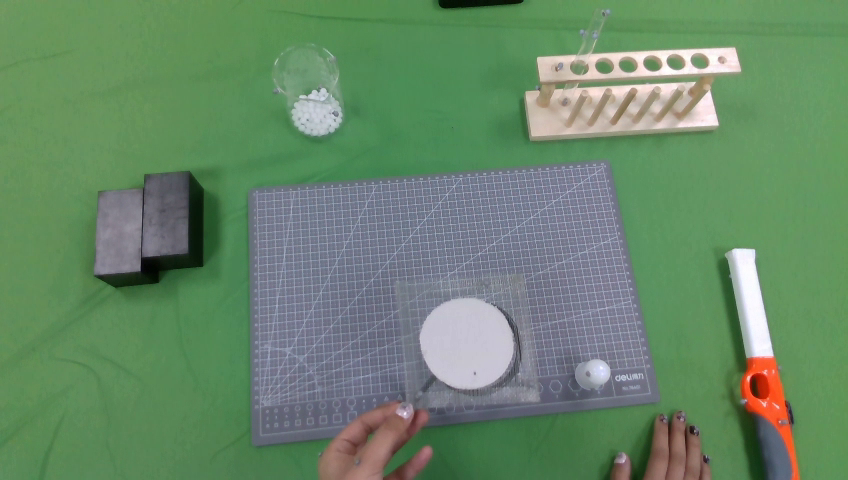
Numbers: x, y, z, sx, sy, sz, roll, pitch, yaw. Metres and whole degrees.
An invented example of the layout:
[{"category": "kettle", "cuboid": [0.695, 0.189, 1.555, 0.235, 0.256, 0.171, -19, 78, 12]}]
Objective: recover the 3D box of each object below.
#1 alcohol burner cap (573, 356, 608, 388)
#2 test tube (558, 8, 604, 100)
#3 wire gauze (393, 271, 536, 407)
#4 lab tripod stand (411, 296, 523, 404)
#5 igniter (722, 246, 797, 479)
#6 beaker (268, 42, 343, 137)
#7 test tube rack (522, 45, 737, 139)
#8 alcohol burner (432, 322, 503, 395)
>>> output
[{"category": "alcohol burner cap", "cuboid": [0.185, 0.144, 0.666, 0.034, 0.048, 0.033, 0, 71, 0]}, {"category": "test tube", "cuboid": [0.180, -0.211, 0.707, 0.017, 0.151, 0.017, 1, 68, -1]}, {"category": "wire gauze", "cuboid": [0.037, 0.089, 0.558, 0.125, 0.011, 0.120, -3, 70, -4]}, {"category": "lab tripod stand", "cuboid": [0.043, 0.114, 0.621, 0.148, 0.132, 0.147, 0, 71, 0]}, {"category": "igniter", "cuboid": [0.377, 0.140, 0.685, 0.057, 0.025, 0.275, 2, 72, -12]}, {"category": "beaker", "cuboid": [-0.136, -0.174, 0.728, 0.074, 0.101, 0.083, -35, 77, -12]}, {"category": "test tube rack", "cuboid": [0.252, -0.182, 0.752, 0.242, 0.085, 0.066, -4, 72, -3]}, {"category": "alcohol burner", "cuboid": [0.047, 0.121, 0.630, 0.078, 0.120, 0.077, 1, 70, -2]}]
